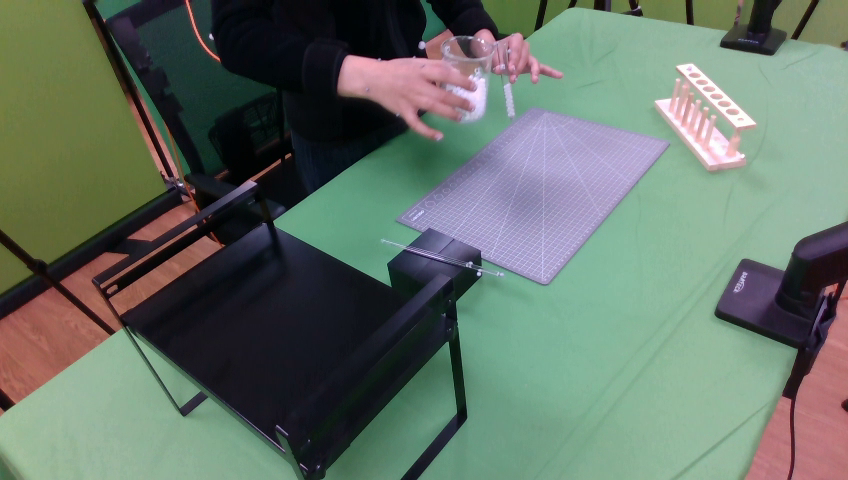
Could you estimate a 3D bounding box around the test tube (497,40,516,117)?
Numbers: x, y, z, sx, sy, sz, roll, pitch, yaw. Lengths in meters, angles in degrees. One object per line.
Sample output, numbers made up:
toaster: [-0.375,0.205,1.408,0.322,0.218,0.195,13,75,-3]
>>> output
test tube: [0.139,-0.267,1.014,0.017,0.151,0.017,-8,50,10]

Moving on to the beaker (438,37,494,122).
beaker: [0.059,-0.226,0.856,0.084,0.100,0.073,-30,52,-31]

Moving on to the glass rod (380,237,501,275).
glass rod: [0.020,0.023,0.881,0.198,0.008,0.008,16,46,25]

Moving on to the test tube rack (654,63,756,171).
test tube rack: [0.510,-0.234,1.120,0.067,0.085,0.241,-8,41,-1]
